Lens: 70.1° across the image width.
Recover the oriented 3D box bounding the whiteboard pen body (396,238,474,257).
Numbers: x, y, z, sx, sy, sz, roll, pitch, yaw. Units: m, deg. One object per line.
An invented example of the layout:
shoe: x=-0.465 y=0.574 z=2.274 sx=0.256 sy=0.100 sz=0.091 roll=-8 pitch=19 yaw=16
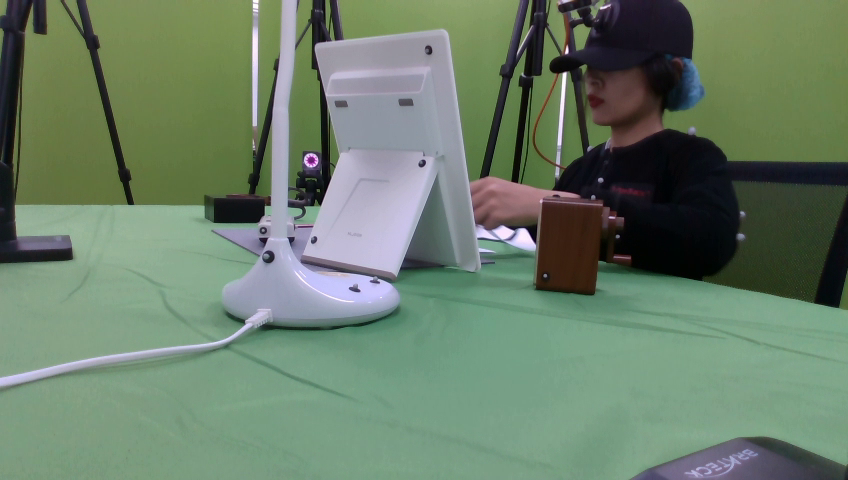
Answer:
whiteboard pen body: x=0.014 y=0.012 z=0.886 sx=0.140 sy=0.017 sz=0.017 roll=9 pitch=10 yaw=38

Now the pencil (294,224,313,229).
pencil: x=-0.220 y=-0.028 z=1.210 sx=0.195 sy=0.012 sz=0.012 roll=-5 pitch=10 yaw=-34

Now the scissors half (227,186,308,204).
scissors half: x=-0.336 y=-0.096 z=1.305 sx=0.176 sy=0.040 sz=0.013 roll=-3 pitch=15 yaw=-29

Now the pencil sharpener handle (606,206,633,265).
pencil sharpener handle: x=0.223 y=-0.004 z=0.683 sx=0.030 sy=0.068 sz=0.036 roll=5 pitch=21 yaw=16

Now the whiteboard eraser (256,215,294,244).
whiteboard eraser: x=-0.232 y=-0.016 z=0.951 sx=0.056 sy=0.042 sz=0.112 roll=1 pitch=7 yaw=-12

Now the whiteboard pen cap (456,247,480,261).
whiteboard pen cap: x=0.061 y=0.020 z=0.851 sx=0.033 sy=0.018 sz=0.018 roll=10 pitch=11 yaw=38

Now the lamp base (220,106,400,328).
lamp base: x=-0.101 y=-0.023 z=0.531 sx=0.160 sy=0.180 sz=0.179 roll=4 pitch=10 yaw=10

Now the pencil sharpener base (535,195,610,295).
pencil sharpener base: x=0.172 y=0.005 z=0.695 sx=0.076 sy=0.107 sz=0.061 roll=5 pitch=7 yaw=16

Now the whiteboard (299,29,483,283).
whiteboard: x=-0.074 y=-0.082 z=0.742 sx=0.216 sy=0.305 sz=0.144 roll=9 pitch=30 yaw=38

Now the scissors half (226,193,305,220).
scissors half: x=-0.341 y=-0.077 z=1.309 sx=0.176 sy=0.040 sz=0.012 roll=17 pitch=10 yaw=-33
